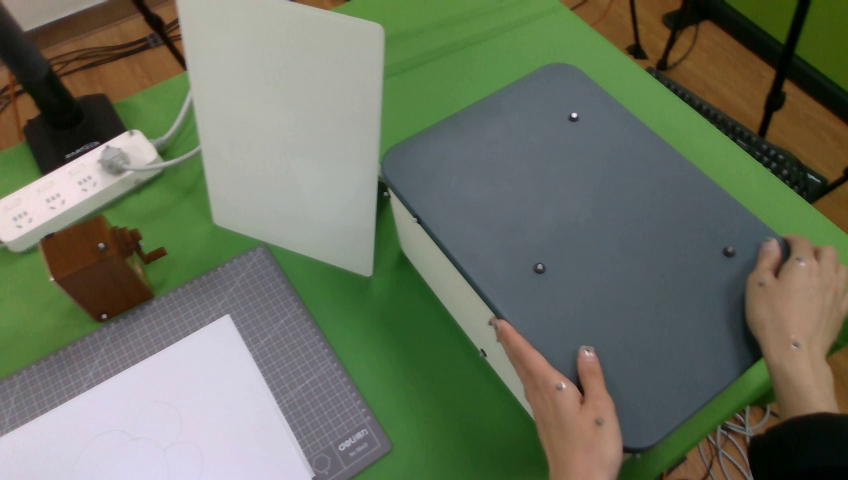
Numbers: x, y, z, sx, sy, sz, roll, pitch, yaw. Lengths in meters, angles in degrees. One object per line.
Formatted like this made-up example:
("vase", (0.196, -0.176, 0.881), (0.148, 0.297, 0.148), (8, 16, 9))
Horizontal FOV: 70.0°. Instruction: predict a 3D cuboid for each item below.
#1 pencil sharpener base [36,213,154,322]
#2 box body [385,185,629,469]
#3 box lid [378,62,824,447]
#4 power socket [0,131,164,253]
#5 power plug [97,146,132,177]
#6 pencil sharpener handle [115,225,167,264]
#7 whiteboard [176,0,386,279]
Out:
("pencil sharpener base", (-0.356, 0.031, 0.668), (0.077, 0.108, 0.061), (-28, 61, -16))
("box body", (0.153, 0.020, 0.637), (0.254, 0.162, 0.360), (-31, 63, -17))
("box lid", (0.151, -0.022, 0.575), (0.263, 0.015, 0.368), (-31, 63, -18))
("power socket", (-0.441, -0.064, 0.772), (0.226, 0.033, 0.071), (-36, 65, -20))
("power plug", (-0.384, -0.086, 0.758), (0.035, 0.053, 0.072), (-27, 63, -15))
("pencil sharpener handle", (-0.312, 0.002, 0.672), (0.030, 0.068, 0.035), (-28, 60, -16))
("whiteboard", (-0.127, -0.139, 0.691), (0.216, 0.308, 0.143), (18, 41, 12))
